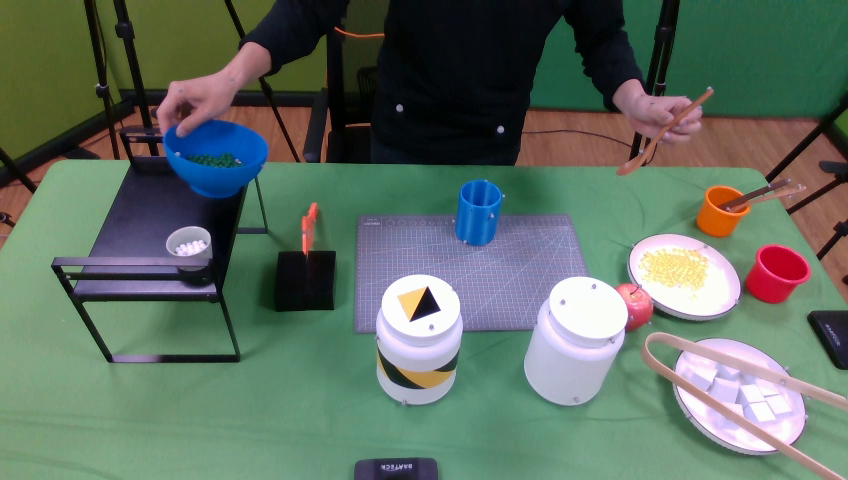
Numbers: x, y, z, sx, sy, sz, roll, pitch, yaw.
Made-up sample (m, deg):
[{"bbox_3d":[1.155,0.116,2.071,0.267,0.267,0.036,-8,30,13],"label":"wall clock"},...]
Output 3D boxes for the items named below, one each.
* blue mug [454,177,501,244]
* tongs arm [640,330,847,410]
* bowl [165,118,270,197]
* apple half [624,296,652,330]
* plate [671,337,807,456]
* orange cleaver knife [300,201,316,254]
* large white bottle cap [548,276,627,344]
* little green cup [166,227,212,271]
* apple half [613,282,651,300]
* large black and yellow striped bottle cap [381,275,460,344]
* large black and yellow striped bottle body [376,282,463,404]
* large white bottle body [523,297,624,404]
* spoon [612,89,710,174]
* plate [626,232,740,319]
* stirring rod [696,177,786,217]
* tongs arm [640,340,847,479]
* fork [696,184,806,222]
[{"bbox_3d":[0.106,-0.067,1.208,0.082,0.106,0.116,6,46,1],"label":"blue mug"},{"bbox_3d":[0.543,0.225,0.969,0.384,0.026,0.050,22,52,13],"label":"tongs arm"},{"bbox_3d":[-0.318,-0.119,0.935,0.151,0.077,0.150,12,35,-8],"label":"bowl"},{"bbox_3d":[0.368,0.135,1.060,0.081,0.081,0.032,-11,43,-14],"label":"apple half"},{"bbox_3d":[0.504,0.254,0.984,0.208,0.039,0.206,2,46,-2],"label":"plate"},{"bbox_3d":[-0.221,-0.027,1.160,0.012,0.077,0.210,-1,15,-4],"label":"orange cleaver knife"},{"bbox_3d":[0.240,0.100,0.890,0.115,0.018,0.114,3,47,-3],"label":"large white bottle cap"},{"bbox_3d":[-0.344,0.014,0.895,0.061,0.039,0.061,3,46,-3],"label":"little green cup"},{"bbox_3d":[0.356,0.109,1.086,0.081,0.075,0.053,-13,44,-12],"label":"apple half"},{"bbox_3d":[-0.005,0.099,0.875,0.115,0.019,0.114,2,45,-2],"label":"large black and yellow striped bottle cap"},{"bbox_3d":[-0.010,0.155,0.937,0.131,0.185,0.130,2,47,-2],"label":"large black and yellow striped bottle body"},{"bbox_3d":[0.235,0.159,0.952,0.131,0.185,0.130,2,47,-2],"label":"large white bottle body"},{"bbox_3d":[0.378,-0.171,0.975,0.021,0.194,0.041,38,36,-1],"label":"spoon"},{"bbox_3d":[0.488,0.071,1.157,0.209,0.038,0.208,3,46,-3],"label":"plate"},{"bbox_3d":[0.648,-0.087,1.244,0.176,0.006,0.014,-25,50,29],"label":"stirring rod"},{"bbox_3d":[0.500,0.277,0.919,0.386,0.028,0.028,34,59,22],"label":"tongs arm"},{"bbox_3d":[0.658,-0.074,1.230,0.207,0.019,0.028,-24,33,36],"label":"fork"}]
